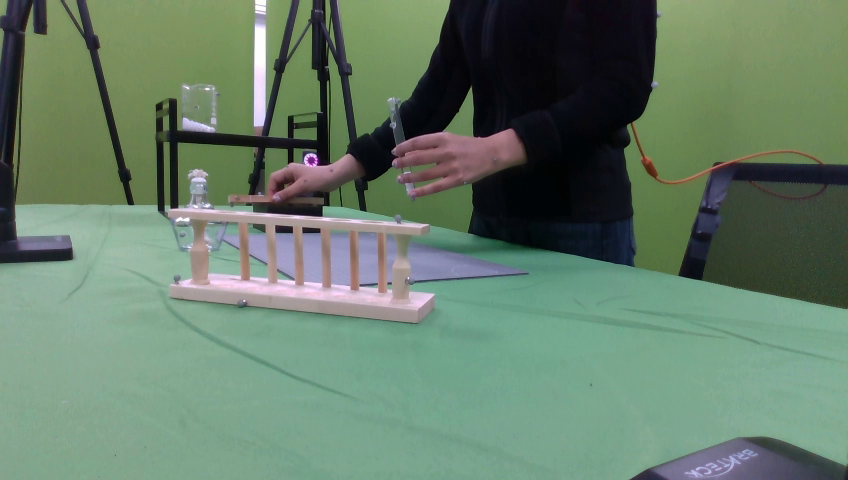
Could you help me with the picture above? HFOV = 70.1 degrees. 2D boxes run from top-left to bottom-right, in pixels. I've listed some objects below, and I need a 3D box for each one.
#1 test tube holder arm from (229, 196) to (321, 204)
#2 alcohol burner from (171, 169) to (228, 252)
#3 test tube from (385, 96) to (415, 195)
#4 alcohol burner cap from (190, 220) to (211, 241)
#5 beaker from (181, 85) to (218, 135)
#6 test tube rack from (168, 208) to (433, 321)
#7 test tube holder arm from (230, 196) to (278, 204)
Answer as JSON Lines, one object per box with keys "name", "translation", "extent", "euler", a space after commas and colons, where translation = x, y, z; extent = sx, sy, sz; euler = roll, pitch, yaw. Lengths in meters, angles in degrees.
{"name": "test tube holder arm", "translation": [-0.279, -0.076, 1.146], "extent": [0.179, 0.015, 0.013], "euler": [-2, 7, -35]}
{"name": "alcohol burner", "translation": [-0.325, -0.043, 0.875], "extent": [0.078, 0.119, 0.078], "euler": [0, 6, 0]}
{"name": "test tube", "translation": [-0.036, -0.141, 0.908], "extent": [0.017, 0.150, 0.017], "euler": [-12, 5, 1]}
{"name": "alcohol burner cap", "translation": [-0.365, -0.023, 0.988], "extent": [0.034, 0.048, 0.034], "euler": [1, 7, 0]}
{"name": "beaker", "translation": [-0.479, -0.276, 1.291], "extent": [0.074, 0.100, 0.084], "euler": [2, 8, -1]}
{"name": "test tube rack", "translation": [-0.116, 0.017, 0.574], "extent": [0.242, 0.085, 0.067], "euler": [4, 8, 13]}
{"name": "test tube holder arm", "translation": [-0.313, -0.074, 1.116], "extent": [0.088, 0.015, 0.010], "euler": [-2, 7, -33]}
